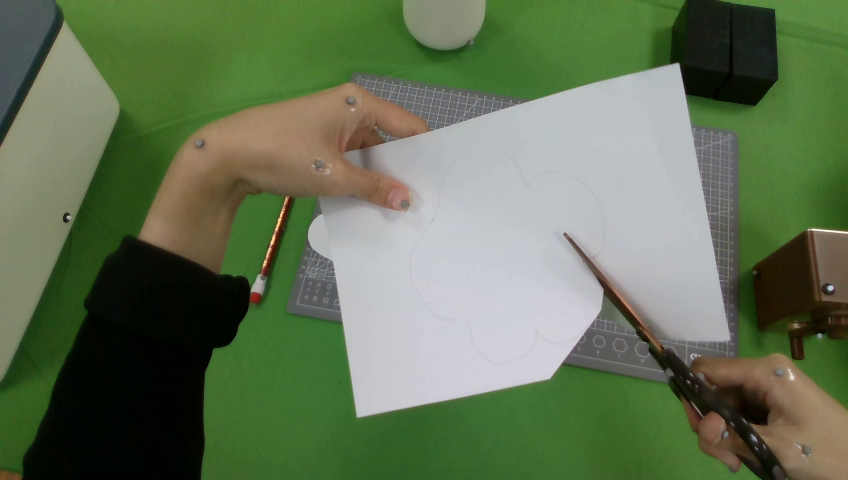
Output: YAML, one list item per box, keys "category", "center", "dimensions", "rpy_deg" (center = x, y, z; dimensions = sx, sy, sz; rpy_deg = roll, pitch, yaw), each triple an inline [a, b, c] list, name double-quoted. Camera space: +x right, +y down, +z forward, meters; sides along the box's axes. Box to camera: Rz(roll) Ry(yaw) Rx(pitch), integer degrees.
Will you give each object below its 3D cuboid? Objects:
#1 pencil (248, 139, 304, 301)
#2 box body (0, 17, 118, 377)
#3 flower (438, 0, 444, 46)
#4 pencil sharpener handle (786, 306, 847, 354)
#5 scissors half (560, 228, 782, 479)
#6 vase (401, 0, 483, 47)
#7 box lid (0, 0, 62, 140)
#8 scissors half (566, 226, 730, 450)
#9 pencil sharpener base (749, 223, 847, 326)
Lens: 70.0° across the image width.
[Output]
- category: "pencil"
  center: [-0.155, -0.027, 0.648]
  dimensions: [0.012, 0.012, 0.193]
  rpy_deg: [10, 68, 4]
- category: "box body"
  center: [-0.490, -0.055, 0.574]
  dimensions: [0.254, 0.161, 0.362]
  rpy_deg: [10, 69, 4]
- category: "flower"
  center: [0.015, -0.349, 0.583]
  dimensions: [0.044, 0.365, 0.038]
  rpy_deg: [3, 51, 5]
- category: "pencil sharpener handle"
  center: [0.354, 0.082, 0.542]
  dimensions: [0.036, 0.068, 0.030]
  rpy_deg: [10, 68, -11]
- category: "scissors half"
  center: [0.134, 0.059, 0.337]
  dimensions: [0.013, 0.040, 0.174]
  rpy_deg: [-39, 78, -2]
- category: "vase"
  center: [0.020, -0.305, 0.655]
  dimensions: [0.098, 0.201, 0.097]
  rpy_deg: [0, 67, 1]
- category: "box lid"
  center: [-0.490, -0.085, 0.505]
  dimensions: [0.263, 0.015, 0.369]
  rpy_deg: [10, 69, 3]
- category: "scissors half"
  center: [0.134, 0.059, 0.359]
  dimensions: [0.013, 0.040, 0.176]
  rpy_deg: [-38, 105, 3]
- category: "pencil sharpener base"
  center: [0.363, 0.040, 0.572]
  dimensions: [0.061, 0.108, 0.076]
  rpy_deg: [5, 69, 2]
